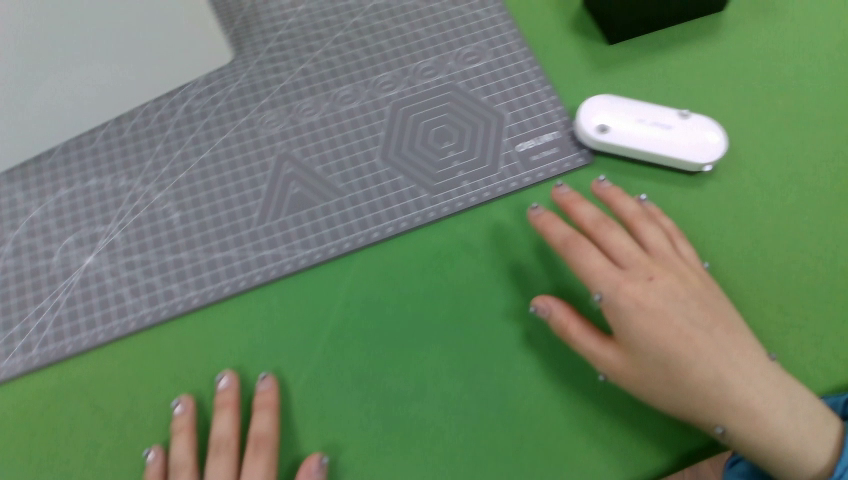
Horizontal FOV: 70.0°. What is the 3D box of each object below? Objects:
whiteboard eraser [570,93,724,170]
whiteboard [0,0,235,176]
[{"bbox_3d":[0.153,-0.075,0.418,0.101,0.019,0.041,14,66,8],"label":"whiteboard eraser"},{"bbox_3d":[-0.299,-0.223,0.377,0.217,0.309,0.142,-29,48,-11],"label":"whiteboard"}]
